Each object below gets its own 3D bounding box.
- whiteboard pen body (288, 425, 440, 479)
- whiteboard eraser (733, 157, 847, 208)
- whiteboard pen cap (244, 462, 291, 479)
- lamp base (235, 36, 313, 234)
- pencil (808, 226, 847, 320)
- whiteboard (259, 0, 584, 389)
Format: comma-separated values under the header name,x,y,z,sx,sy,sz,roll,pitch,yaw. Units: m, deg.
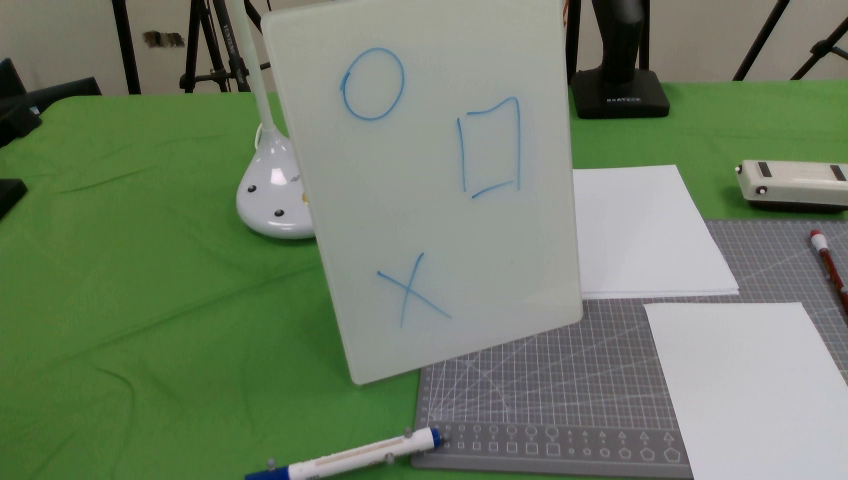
name,x,y,z,sx,sy,sz,roll,pitch,yaw
whiteboard pen body,-0.057,0.163,0.457,0.141,0.017,0.017,-12,42,-10
whiteboard eraser,0.401,-0.061,0.657,0.112,0.042,0.055,5,43,10
whiteboard pen cap,-0.114,0.174,0.446,0.033,0.018,0.018,-11,42,-12
lamp base,-0.156,-0.124,0.672,0.160,0.182,0.177,-34,47,-29
pencil,0.381,0.054,0.549,0.012,0.012,0.192,4,44,9
whiteboard,0.003,-0.061,0.536,0.217,0.307,0.142,-14,23,-9
